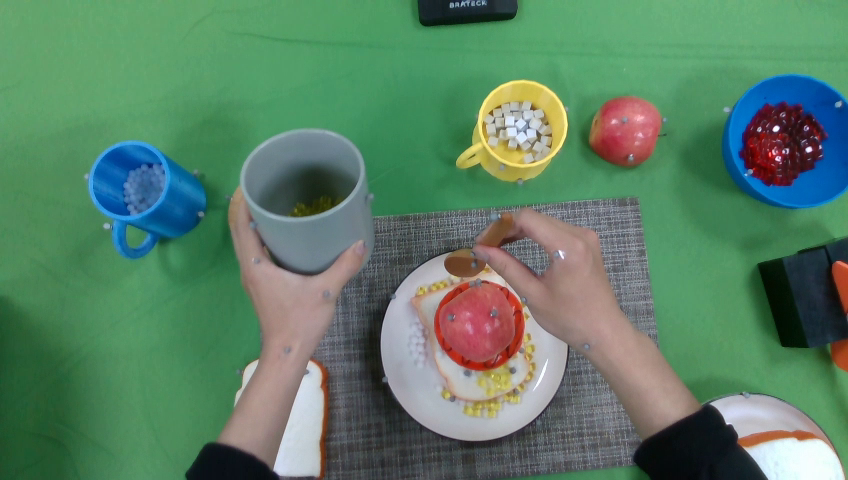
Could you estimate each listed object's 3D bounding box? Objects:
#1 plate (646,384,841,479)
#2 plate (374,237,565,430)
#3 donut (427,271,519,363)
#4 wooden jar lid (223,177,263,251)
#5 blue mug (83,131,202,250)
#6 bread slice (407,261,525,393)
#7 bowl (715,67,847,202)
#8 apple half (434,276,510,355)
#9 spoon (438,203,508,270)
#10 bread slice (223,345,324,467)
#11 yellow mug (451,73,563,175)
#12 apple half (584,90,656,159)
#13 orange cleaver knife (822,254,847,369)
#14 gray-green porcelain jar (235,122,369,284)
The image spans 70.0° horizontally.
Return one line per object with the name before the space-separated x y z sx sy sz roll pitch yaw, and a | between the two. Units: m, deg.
plate | 0.343 0.261 0.662 0.209 0.038 0.208 0 83 -1
plate | 0.049 0.102 0.671 0.208 0.039 0.207 0 83 -1
donut | 0.053 0.082 0.646 0.099 0.048 0.098 0 83 -1
wooden jar lid | -0.173 -0.039 0.693 0.108 0.021 0.108 0 80 0
blue mug | -0.302 -0.045 0.650 0.082 0.106 0.116 16 82 1
bread slice | 0.054 0.100 0.673 0.107 0.018 0.134 -21 84 -4
bowl | 0.395 -0.110 0.690 0.151 0.077 0.151 0 83 -1
apple half | 0.051 0.076 0.610 0.081 0.033 0.081 -1 81 5
spoon | 0.044 0.002 0.520 0.042 0.194 0.021 10 78 -6
bread slice | -0.164 0.181 0.666 0.105 0.019 0.131 3 83 -2
yellow mug | 0.089 -0.124 0.690 0.131 0.064 0.099 -28 84 -4
apple half | 0.230 -0.139 0.703 0.074 0.053 0.080 18 83 4
orange cleaver knife | 0.468 0.119 0.661 0.012 0.076 0.212 -16 105 -10
gray-green porcelain jar | -0.106 -0.027 0.562 0.106 0.127 0.105 0 56 0
